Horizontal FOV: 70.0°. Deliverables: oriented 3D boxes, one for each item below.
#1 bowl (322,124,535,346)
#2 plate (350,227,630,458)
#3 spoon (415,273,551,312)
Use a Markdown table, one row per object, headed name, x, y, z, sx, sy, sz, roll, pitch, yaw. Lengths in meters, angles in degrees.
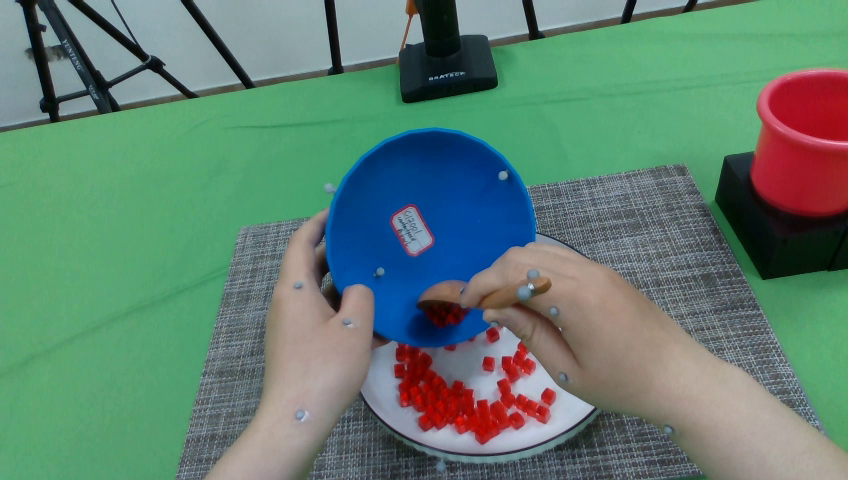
| name | x | y | z | sx | sy | sz | roll | pitch | yaw |
| --- | --- | --- | --- | --- | --- | --- | --- | --- | --- |
| bowl | -0.003 | -0.005 | 0.443 | 0.151 | 0.152 | 0.076 | -26 | 12 | -13 |
| plate | 0.049 | 0.071 | 0.466 | 0.207 | 0.039 | 0.205 | -6 | 46 | 7 |
| spoon | 0.032 | 0.033 | 0.355 | 0.042 | 0.193 | 0.021 | -11 | 87 | -15 |
